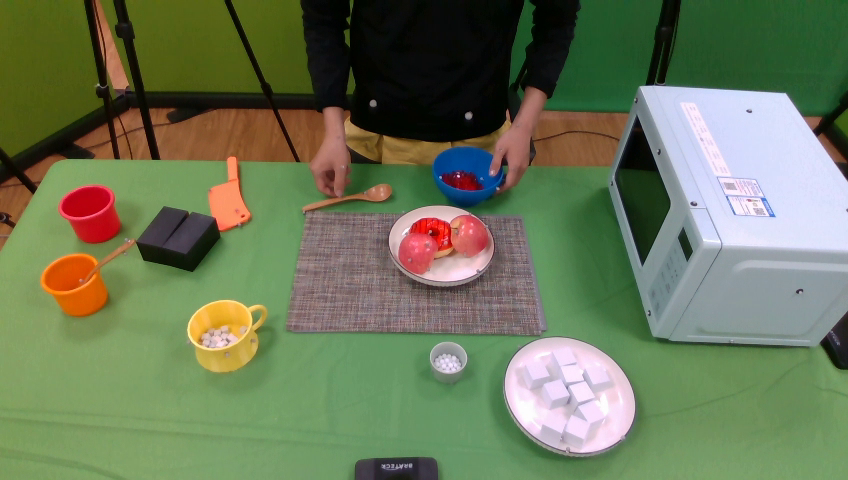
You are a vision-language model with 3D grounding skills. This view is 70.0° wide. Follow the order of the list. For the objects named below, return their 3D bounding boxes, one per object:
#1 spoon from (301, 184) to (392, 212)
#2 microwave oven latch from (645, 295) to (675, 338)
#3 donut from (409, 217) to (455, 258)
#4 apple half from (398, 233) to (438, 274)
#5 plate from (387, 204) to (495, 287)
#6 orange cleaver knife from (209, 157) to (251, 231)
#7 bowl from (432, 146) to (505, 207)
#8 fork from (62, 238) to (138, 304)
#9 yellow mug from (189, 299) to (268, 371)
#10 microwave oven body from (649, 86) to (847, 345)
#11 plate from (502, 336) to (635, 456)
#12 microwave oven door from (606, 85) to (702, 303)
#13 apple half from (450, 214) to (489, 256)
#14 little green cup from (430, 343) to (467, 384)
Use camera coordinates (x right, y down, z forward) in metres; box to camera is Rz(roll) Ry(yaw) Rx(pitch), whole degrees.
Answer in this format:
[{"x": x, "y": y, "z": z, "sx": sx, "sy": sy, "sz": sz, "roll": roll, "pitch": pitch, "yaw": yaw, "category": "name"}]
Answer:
[{"x": -0.162, "y": -0.087, "z": 1.270, "sx": 0.194, "sy": 0.022, "sz": 0.041, "roll": -11, "pitch": 63, "yaw": -15, "category": "spoon"}, {"x": 0.412, "y": 0.134, "z": 1.061, "sx": 0.030, "sy": 0.029, "sz": 0.078, "roll": 3, "pitch": 45, "yaw": 0, "category": "microwave oven latch"}, {"x": 0.019, "y": -0.006, "z": 1.174, "sx": 0.099, "sy": 0.048, "sz": 0.098, "roll": 2, "pitch": 44, "yaw": -2, "category": "donut"}, {"x": -0.016, "y": 0.022, "z": 1.123, "sx": 0.081, "sy": 0.033, "sz": 0.081, "roll": -2, "pitch": 83, "yaw": 14, "category": "apple half"}, {"x": 0.033, "y": 0.014, "z": 1.171, "sx": 0.209, "sy": 0.038, "sz": 0.208, "roll": 2, "pitch": 46, "yaw": -2, "category": "plate"}, {"x": -0.409, "y": -0.099, "z": 1.266, "sx": 0.077, "sy": 0.012, "sz": 0.210, "roll": -14, "pitch": 50, "yaw": -10, "category": "orange cleaver knife"}, {"x": 0.091, "y": -0.124, "z": 1.286, "sx": 0.151, "sy": 0.077, "sz": 0.150, "roll": 2, "pitch": 45, "yaw": -2, "category": "bowl"}, {"x": -0.547, "y": 0.053, "z": 1.018, "sx": 0.207, "sy": 0.019, "sz": 0.028, "roll": -36, "pitch": 41, "yaw": 23, "category": "fork"}, {"x": -0.316, "y": 0.148, "z": 1.002, "sx": 0.131, "sy": 0.064, "sz": 0.099, "roll": -33, "pitch": 56, "yaw": -31, "category": "yellow mug"}, {"x": 0.568, "y": -0.053, "z": 1.118, "sx": 0.326, "sy": 0.261, "sz": 0.439, "roll": 2, "pitch": 45, "yaw": -1, "category": "microwave oven body"}, {"x": 0.225, "y": 0.248, "z": 0.963, "sx": 0.208, "sy": 0.039, "sz": 0.206, "roll": 2, "pitch": 46, "yaw": -2, "category": "plate"}, {"x": 0.423, "y": -0.094, "z": 1.140, "sx": 0.039, "sy": 0.245, "sz": 0.353, "roll": 2, "pitch": 46, "yaw": -1, "category": "microwave oven door"}, {"x": 0.092, "y": -0.013, "z": 1.158, "sx": 0.075, "sy": 0.053, "sz": 0.080, "roll": 35, "pitch": 39, "yaw": -28, "category": "apple half"}, {"x": 0.039, "y": 0.203, "z": 0.994, "sx": 0.061, "sy": 0.039, "sz": 0.061, "roll": 2, "pitch": 46, "yaw": -2, "category": "little green cup"}]
